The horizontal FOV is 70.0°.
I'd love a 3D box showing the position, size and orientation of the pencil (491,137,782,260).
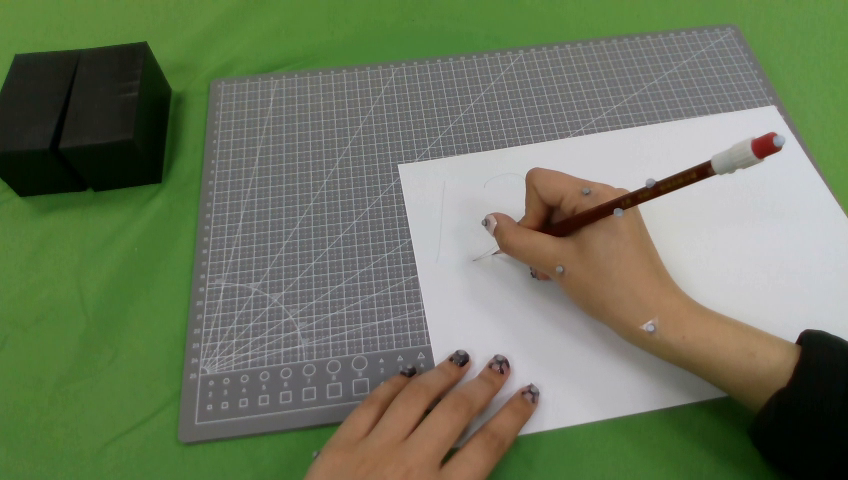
[{"bbox_3d":[0.098,-0.013,0.332,0.012,0.194,0.012,12,68,-31],"label":"pencil"}]
